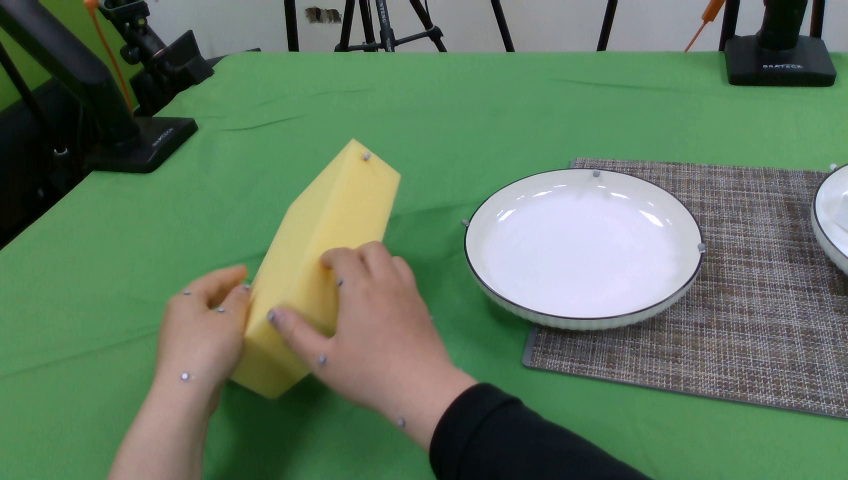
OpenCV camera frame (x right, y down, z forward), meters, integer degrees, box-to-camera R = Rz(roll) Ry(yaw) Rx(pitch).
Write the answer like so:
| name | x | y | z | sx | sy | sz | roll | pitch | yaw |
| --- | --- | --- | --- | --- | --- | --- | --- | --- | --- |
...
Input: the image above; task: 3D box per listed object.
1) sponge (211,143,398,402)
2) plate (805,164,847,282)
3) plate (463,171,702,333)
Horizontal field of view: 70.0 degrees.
| name | x | y | z | sx | sy | sz | roll | pitch | yaw |
| --- | --- | --- | --- | --- | --- | --- | --- | --- | --- |
| sponge | -0.098 | 0.022 | 0.533 | 0.118 | 0.061 | 0.205 | -38 | 27 | 37 |
| plate | 0.434 | 0.001 | 0.506 | 0.207 | 0.039 | 0.205 | -6 | 40 | 5 |
| plate | 0.141 | 0.010 | 0.557 | 0.209 | 0.038 | 0.207 | -6 | 40 | 5 |
